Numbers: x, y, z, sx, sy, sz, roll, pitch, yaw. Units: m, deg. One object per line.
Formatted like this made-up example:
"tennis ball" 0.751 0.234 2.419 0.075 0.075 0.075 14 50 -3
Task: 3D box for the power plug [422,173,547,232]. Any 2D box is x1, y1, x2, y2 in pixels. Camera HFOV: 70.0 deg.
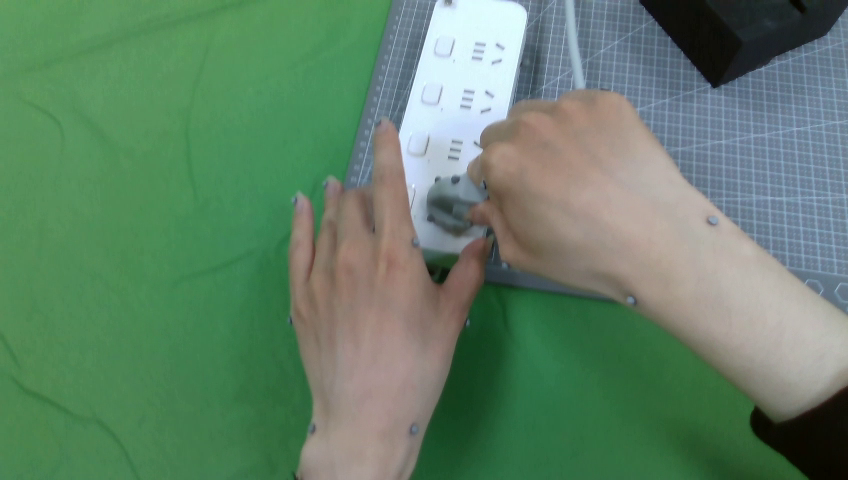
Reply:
"power plug" 0.033 -0.015 0.377 0.072 0.053 0.035 24 68 10

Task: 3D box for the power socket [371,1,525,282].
"power socket" 0.021 -0.080 0.428 0.072 0.033 0.225 12 67 7
